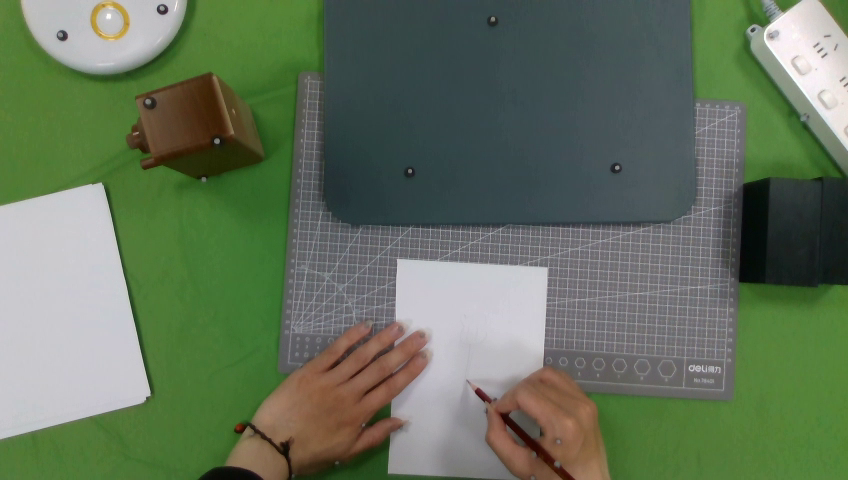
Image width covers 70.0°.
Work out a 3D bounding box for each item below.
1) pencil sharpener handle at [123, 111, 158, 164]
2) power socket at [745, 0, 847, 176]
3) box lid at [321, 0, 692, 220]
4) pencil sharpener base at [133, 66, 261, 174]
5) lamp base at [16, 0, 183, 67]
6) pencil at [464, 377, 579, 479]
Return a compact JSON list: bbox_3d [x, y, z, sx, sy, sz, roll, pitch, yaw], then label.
[{"bbox_3d":[-0.250,-0.086,0.534,0.030,0.068,0.036,-17,76,-1],"label":"pencil sharpener handle"},{"bbox_3d":[0.412,-0.143,0.600,0.072,0.032,0.226,-37,89,-2],"label":"power socket"},{"bbox_3d":[0.084,-0.151,0.603,0.372,0.015,0.263,-1,88,-1],"label":"box lid"},{"bbox_3d":[-0.202,-0.104,0.548,0.077,0.107,0.061,-17,89,-1],"label":"pencil sharpener base"},{"bbox_3d":[-0.320,-0.261,0.513,0.160,0.180,0.179,-28,86,-2],"label":"lamp base"},{"bbox_3d":[0.088,0.169,0.520,0.012,0.192,0.012,-14,118,-28],"label":"pencil"}]
